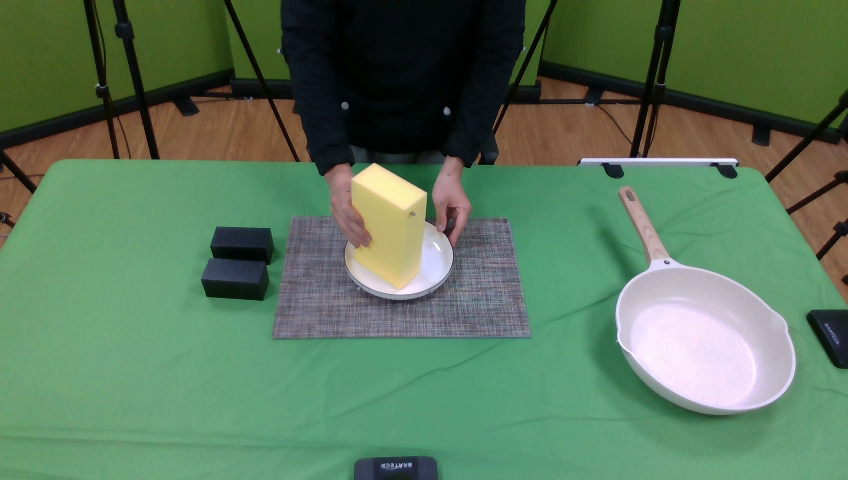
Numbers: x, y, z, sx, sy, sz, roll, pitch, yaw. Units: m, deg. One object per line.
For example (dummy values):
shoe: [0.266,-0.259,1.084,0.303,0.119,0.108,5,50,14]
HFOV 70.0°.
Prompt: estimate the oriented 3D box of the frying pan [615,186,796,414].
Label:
frying pan: [0.449,0.087,1.091,0.307,0.103,0.484,-4,55,-10]

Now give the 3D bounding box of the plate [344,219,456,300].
plate: [-0.045,0.036,1.146,0.208,0.039,0.206,2,46,-2]

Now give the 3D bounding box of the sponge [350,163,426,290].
sponge: [-0.066,-0.020,1.068,0.118,0.208,0.061,32,52,22]
